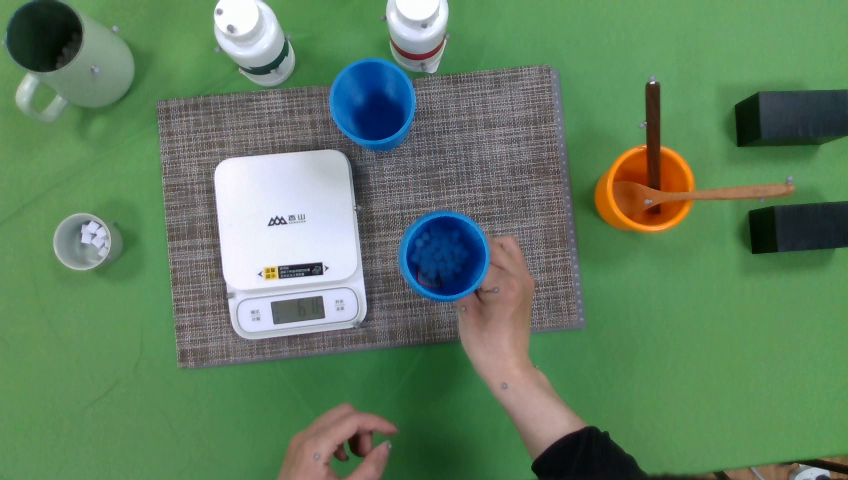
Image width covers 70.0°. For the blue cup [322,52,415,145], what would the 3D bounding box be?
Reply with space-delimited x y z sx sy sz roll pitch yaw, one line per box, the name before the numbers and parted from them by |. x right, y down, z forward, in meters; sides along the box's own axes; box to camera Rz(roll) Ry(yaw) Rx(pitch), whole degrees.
blue cup | -0.052 -0.140 0.639 0.092 0.100 0.092 0 90 -1

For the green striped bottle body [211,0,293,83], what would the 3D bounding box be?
green striped bottle body | -0.179 -0.212 0.631 0.063 0.119 0.063 0 88 -1

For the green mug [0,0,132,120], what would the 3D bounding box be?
green mug | -0.379 -0.183 0.633 0.092 0.105 0.125 29 87 0

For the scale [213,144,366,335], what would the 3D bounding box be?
scale | -0.147 -0.001 0.665 0.149 0.031 0.200 -7 89 -1

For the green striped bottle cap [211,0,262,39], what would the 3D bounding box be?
green striped bottle cap | -0.178 -0.215 0.576 0.044 0.020 0.044 0 88 0

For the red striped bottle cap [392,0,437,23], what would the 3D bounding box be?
red striped bottle cap | -0.009 -0.234 0.583 0.044 0.018 0.044 0 85 -1

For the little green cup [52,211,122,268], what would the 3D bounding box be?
little green cup | -0.363 0.000 0.660 0.061 0.038 0.061 0 88 -2

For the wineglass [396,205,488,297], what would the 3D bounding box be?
wineglass | 0.012 0.009 0.518 0.074 0.172 0.073 0 90 -2

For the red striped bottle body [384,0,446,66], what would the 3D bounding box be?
red striped bottle body | -0.010 -0.232 0.637 0.063 0.119 0.063 0 87 -1

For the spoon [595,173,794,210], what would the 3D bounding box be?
spoon | 0.269 -0.053 0.624 0.022 0.192 0.041 -12 99 -45

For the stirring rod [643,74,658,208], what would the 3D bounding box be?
stirring rod | 0.233 -0.095 0.623 0.014 0.178 0.006 10 54 28
